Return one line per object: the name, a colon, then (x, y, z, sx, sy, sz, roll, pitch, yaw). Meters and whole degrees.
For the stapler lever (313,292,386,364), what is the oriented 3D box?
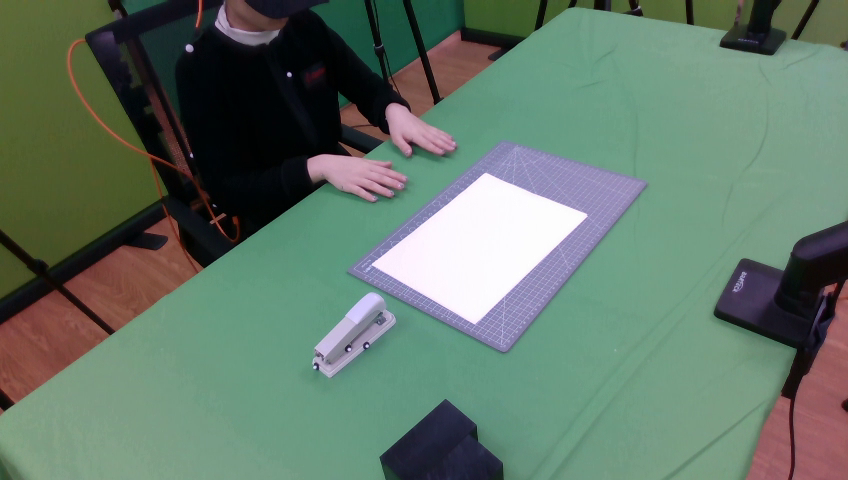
stapler lever: (-0.099, 0.116, 0.814, 0.026, 0.040, 0.118, 25, 51, 36)

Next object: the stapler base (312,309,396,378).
stapler base: (-0.096, 0.133, 0.831, 0.041, 0.024, 0.131, 26, 51, 36)
